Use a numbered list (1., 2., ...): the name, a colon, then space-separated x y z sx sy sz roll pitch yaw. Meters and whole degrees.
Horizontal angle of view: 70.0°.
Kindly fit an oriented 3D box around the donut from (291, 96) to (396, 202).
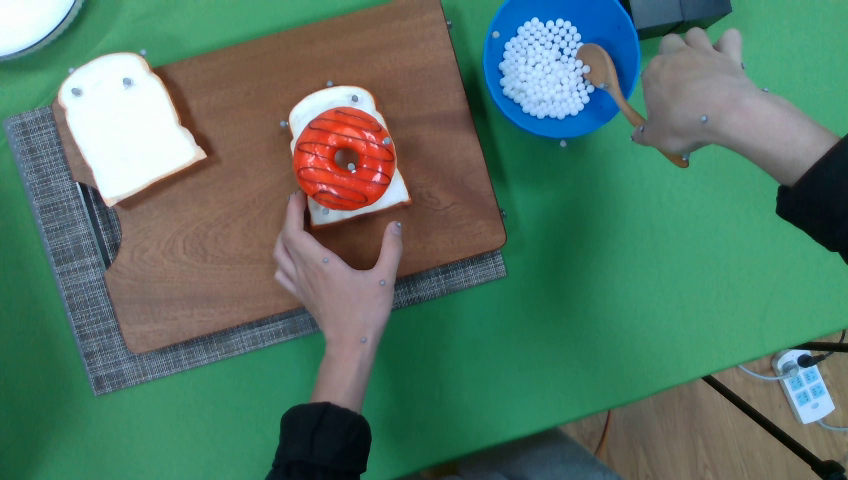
1. donut: -0.076 -0.085 0.572 0.099 0.048 0.099 0 94 -3

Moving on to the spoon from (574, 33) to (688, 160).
1. spoon: 0.183 -0.131 0.551 0.022 0.191 0.042 -7 137 -11

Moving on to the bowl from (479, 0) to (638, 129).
1. bowl: 0.125 -0.181 0.605 0.151 0.076 0.151 0 93 -2

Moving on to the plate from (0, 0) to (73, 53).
1. plate: -0.436 -0.285 0.595 0.208 0.039 0.207 0 93 -3

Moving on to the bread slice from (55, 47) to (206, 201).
1. bread slice: -0.292 -0.117 0.589 0.107 0.018 0.134 -31 93 -1

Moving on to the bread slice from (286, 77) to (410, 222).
1. bread slice: -0.083 -0.093 0.602 0.105 0.019 0.131 -17 95 -3
